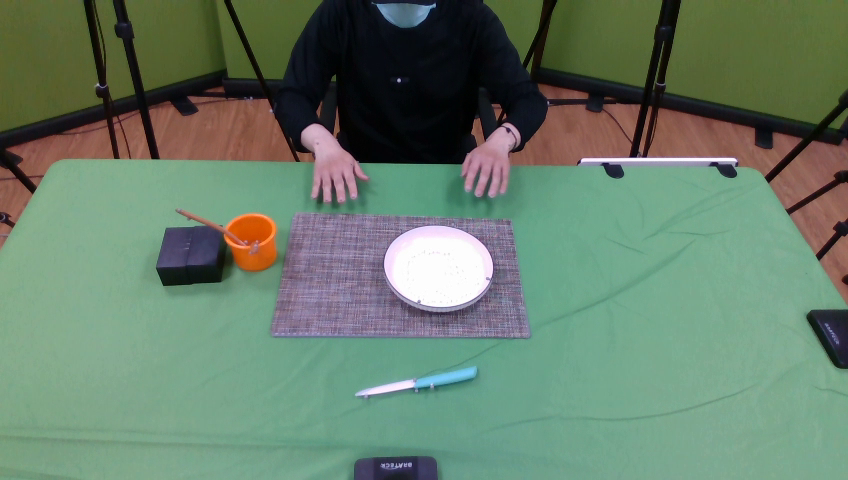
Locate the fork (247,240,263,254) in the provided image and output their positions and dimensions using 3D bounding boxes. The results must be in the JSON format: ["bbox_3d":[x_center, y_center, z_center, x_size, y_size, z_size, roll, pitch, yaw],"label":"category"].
[{"bbox_3d":[-0.301,0.011,1.075,0.028,0.018,0.207,4,0,-15],"label":"fork"}]

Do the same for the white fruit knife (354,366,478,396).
[{"bbox_3d":[-0.010,0.231,0.978,0.208,0.016,0.027,-9,19,-10],"label":"white fruit knife"}]

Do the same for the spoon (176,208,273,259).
[{"bbox_3d":[-0.355,-0.011,1.088,0.041,0.195,0.021,21,77,54],"label":"spoon"}]

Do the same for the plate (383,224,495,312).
[{"bbox_3d":[0.026,0.055,1.128,0.209,0.038,0.208,2,46,-2],"label":"plate"}]
